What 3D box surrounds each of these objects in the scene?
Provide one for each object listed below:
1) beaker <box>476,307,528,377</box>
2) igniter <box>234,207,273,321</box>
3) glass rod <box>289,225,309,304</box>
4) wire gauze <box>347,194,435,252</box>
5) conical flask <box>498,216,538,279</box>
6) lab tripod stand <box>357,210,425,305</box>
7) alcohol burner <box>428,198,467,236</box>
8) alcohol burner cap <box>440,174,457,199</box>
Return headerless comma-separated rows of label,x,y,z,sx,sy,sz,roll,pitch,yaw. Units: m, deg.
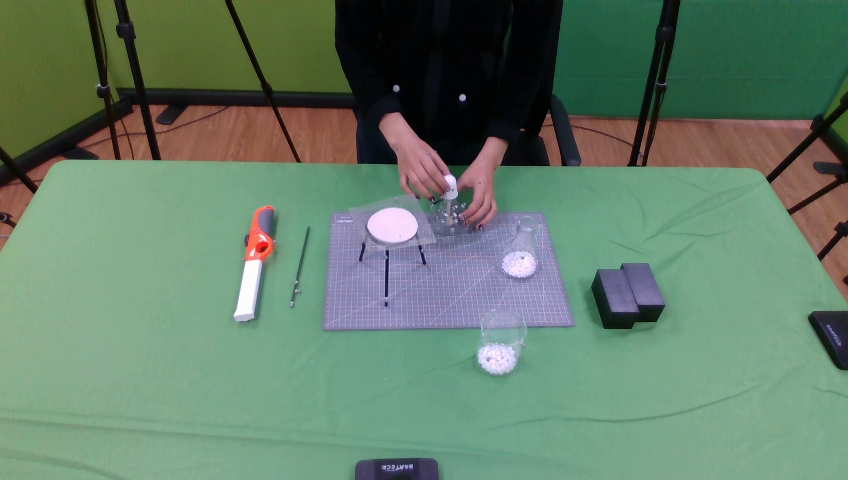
beaker,0.122,0.171,0.991,0.084,0.101,0.073,-34,56,-30
igniter,-0.318,0.035,1.137,0.057,0.025,0.274,-8,46,3
glass rod,-0.235,0.043,1.149,0.008,0.008,0.198,3,46,-1
wire gauze,-0.058,-0.029,1.048,0.125,0.011,0.120,-12,48,-16
conical flask,0.183,0.010,1.131,0.075,0.122,0.075,2,46,-2
lab tripod stand,-0.060,0.020,1.094,0.148,0.132,0.147,3,44,-2
alcohol burner,0.048,-0.066,1.200,0.078,0.120,0.077,1,46,-1
alcohol burner cap,0.046,-0.104,1.159,0.034,0.048,0.033,-3,50,4
